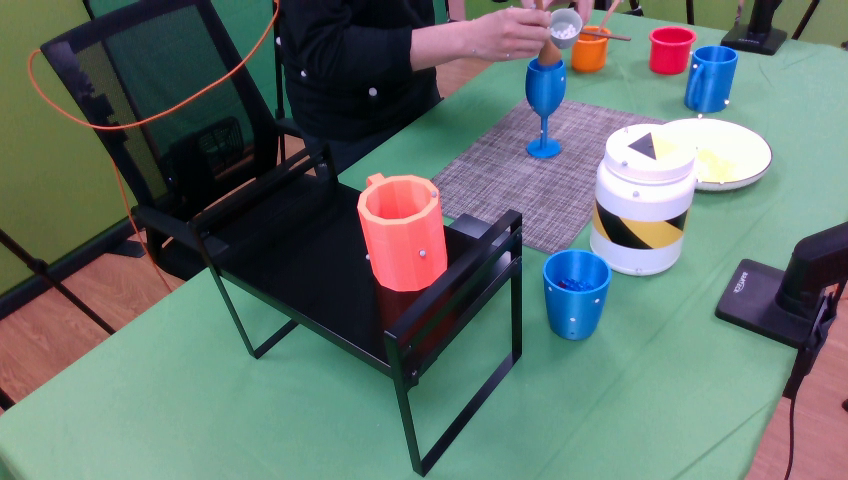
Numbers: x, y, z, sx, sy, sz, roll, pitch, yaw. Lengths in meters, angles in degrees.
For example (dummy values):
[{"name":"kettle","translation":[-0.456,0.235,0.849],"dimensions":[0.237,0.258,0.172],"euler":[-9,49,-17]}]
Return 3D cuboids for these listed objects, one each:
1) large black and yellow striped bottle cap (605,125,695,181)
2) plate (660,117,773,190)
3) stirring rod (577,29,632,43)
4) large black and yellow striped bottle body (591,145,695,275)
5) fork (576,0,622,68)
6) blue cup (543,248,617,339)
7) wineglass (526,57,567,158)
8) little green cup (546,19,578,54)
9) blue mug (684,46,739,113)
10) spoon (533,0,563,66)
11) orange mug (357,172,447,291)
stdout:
[{"name":"large black and yellow striped bottle cap","translation":[0.304,-0.120,0.817],"dimensions":[0.115,0.019,0.114],"euler":[-3,41,3]},{"name":"plate","translation":[0.495,-0.148,1.063],"dimensions":[0.209,0.038,0.208],"euler":[-5,40,4]},{"name":"stirring rod","translation":[0.381,-0.462,1.356],"dimensions":[0.175,0.006,0.014],"euler":[23,48,29]},{"name":"large black and yellow striped bottle body","translation":[0.313,-0.056,0.870],"dimensions":[0.131,0.185,0.130],"euler":[-4,40,4]},{"name":"fork","translation":[0.409,-0.484,1.381],"dimensions":[0.028,0.019,0.207],"euler":[37,101,46]},{"name":"blue cup","translation":[0.199,0.076,0.797],"dimensions":[0.092,0.100,0.092],"euler":[-4,39,4]},{"name":"wineglass","translation":[0.222,-0.241,1.102],"dimensions":[0.074,0.173,0.073],"euler":[-5,41,4]},{"name":"little green cup","translation":[0.247,-0.363,1.085],"dimensions":[0.061,0.039,0.061],"euler":[-15,42,15]},{"name":"blue mug","translation":[0.556,-0.310,1.190],"dimensions":[0.117,0.106,0.081],"euler":[-32,46,-25]},{"name":"spoon","translation":[0.189,-0.329,0.951],"dimensions":[0.041,0.195,0.021],"euler":[-12,66,16]},{"name":"orange mug","translation":[-0.030,-0.018,0.669],"dimensions":[0.084,0.101,0.125],"euler":[-23,46,-16]}]
